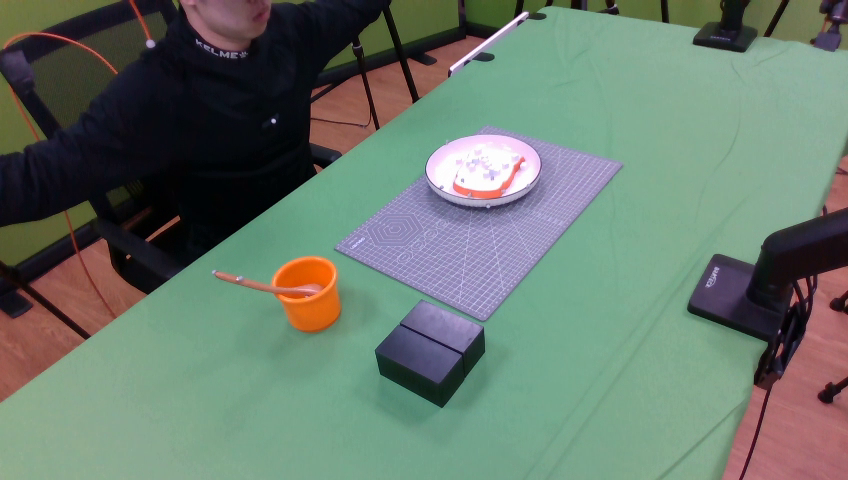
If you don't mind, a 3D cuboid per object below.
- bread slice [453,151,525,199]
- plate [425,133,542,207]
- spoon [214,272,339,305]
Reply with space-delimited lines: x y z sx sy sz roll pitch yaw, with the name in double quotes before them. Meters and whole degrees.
"bread slice" 0.112 -0.118 1.079 0.104 0.019 0.131 11 42 21
"plate" 0.106 -0.121 1.079 0.209 0.038 0.208 -4 41 4
"spoon" -0.192 0.066 0.814 0.195 0.021 0.041 13 20 -44
